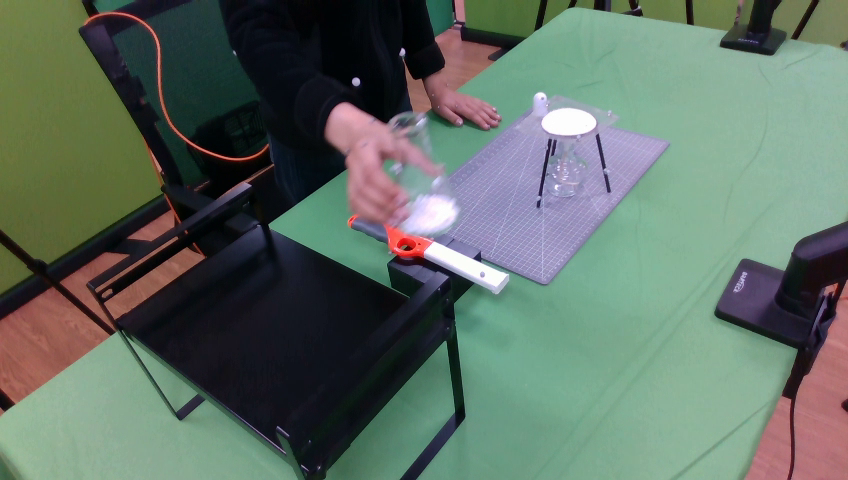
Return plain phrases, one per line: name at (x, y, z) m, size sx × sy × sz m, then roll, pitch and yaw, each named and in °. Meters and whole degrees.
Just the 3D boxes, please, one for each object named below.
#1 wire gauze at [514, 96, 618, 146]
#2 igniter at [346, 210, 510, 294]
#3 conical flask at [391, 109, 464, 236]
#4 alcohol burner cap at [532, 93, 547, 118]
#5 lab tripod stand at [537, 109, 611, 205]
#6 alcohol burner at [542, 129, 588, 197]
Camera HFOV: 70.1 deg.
wire gauze at (0.229, -0.190, 0.969) m, size 0.120 × 0.011 × 0.125 m, roll 26°, pitch 50°, yaw 33°
igniter at (-0.002, 0.012, 0.884) m, size 0.274 × 0.025 × 0.057 m, roll 24°, pitch 53°, yaw 28°
conical flask at (-0.003, -0.070, 0.612) m, size 0.075 × 0.122 × 0.075 m, roll -8°, pitch 37°, yaw 6°
alcohol burner cap at (0.240, -0.281, 1.251) m, size 0.034 × 0.048 × 0.033 m, roll -4°, pitch 42°, yaw 4°
lab tripod stand at (0.244, -0.141, 1.014) m, size 0.148 × 0.132 × 0.147 m, roll -3°, pitch 39°, yaw 3°
alcohol burner at (0.239, -0.133, 1.021) m, size 0.078 × 0.119 × 0.077 m, roll -4°, pitch 38°, yaw 4°
